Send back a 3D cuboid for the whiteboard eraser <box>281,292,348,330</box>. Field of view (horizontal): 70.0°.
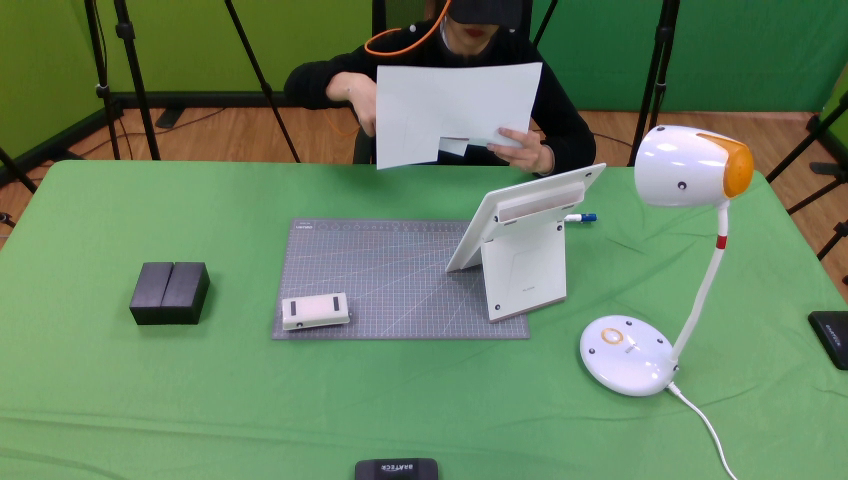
[{"bbox_3d":[-0.189,0.124,1.045,0.113,0.042,0.055,-6,46,-10],"label":"whiteboard eraser"}]

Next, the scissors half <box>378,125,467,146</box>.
[{"bbox_3d":[-0.001,-0.203,1.160,0.175,0.013,0.040,-6,86,-12],"label":"scissors half"}]

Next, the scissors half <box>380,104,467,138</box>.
[{"bbox_3d":[0.001,-0.224,1.164,0.175,0.013,0.040,18,77,-8],"label":"scissors half"}]

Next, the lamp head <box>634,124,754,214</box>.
[{"bbox_3d":[0.351,-0.089,0.775,0.112,0.113,0.122,-30,30,-28],"label":"lamp head"}]

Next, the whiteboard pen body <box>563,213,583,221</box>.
[{"bbox_3d":[0.283,-0.047,1.257,0.141,0.017,0.017,-1,46,-2],"label":"whiteboard pen body"}]

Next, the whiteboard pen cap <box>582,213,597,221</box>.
[{"bbox_3d":[0.342,-0.048,1.260,0.033,0.018,0.018,-3,46,-3],"label":"whiteboard pen cap"}]

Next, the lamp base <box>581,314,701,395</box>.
[{"bbox_3d":[0.361,0.144,0.972,0.178,0.181,0.160,34,53,23],"label":"lamp base"}]

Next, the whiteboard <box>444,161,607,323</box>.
[{"bbox_3d":[0.186,0.025,1.029,0.217,0.306,0.143,-14,68,-18],"label":"whiteboard"}]
